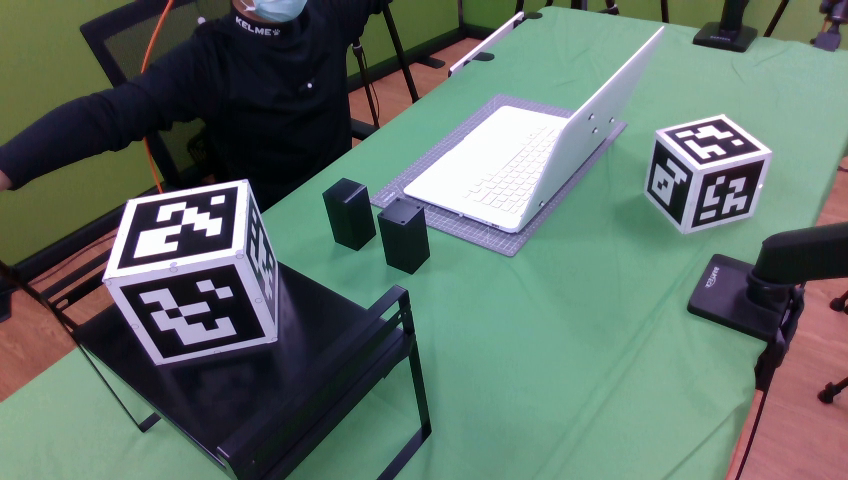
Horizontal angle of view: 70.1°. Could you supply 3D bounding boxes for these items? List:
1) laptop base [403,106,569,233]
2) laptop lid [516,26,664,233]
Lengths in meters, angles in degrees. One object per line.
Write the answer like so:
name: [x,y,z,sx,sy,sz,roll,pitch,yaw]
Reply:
laptop base: [0.156,-0.144,1.116,0.233,0.023,0.355,20,47,32]
laptop lid: [0.268,-0.178,0.966,0.013,0.242,0.357,35,52,16]
